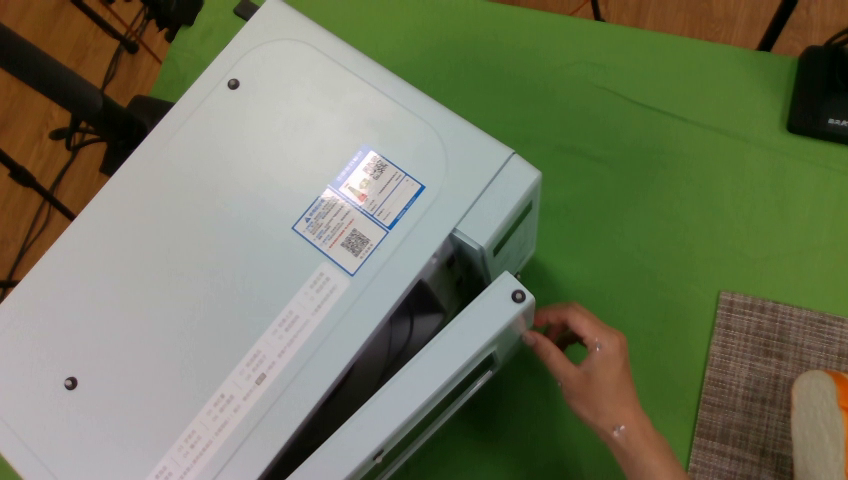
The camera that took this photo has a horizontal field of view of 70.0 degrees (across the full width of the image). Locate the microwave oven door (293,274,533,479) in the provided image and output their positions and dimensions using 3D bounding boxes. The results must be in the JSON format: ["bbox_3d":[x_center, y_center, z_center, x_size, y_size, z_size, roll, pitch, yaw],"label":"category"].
[{"bbox_3d":[-0.039,0.181,0.545,0.355,0.245,0.039,-43,72,-4],"label":"microwave oven door"}]

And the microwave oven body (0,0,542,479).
[{"bbox_3d":[-0.145,0.050,0.602,0.324,0.262,0.441,36,84,16],"label":"microwave oven body"}]

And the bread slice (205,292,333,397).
[{"bbox_3d":[-0.164,0.118,0.646,0.134,0.018,0.106,-8,74,-3],"label":"bread slice"}]

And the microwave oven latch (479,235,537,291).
[{"bbox_3d":[0.094,0.021,0.674,0.030,0.030,0.079,39,84,16],"label":"microwave oven latch"}]

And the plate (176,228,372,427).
[{"bbox_3d":[-0.156,0.091,0.646,0.207,0.039,0.206,-1,75,5],"label":"plate"}]
